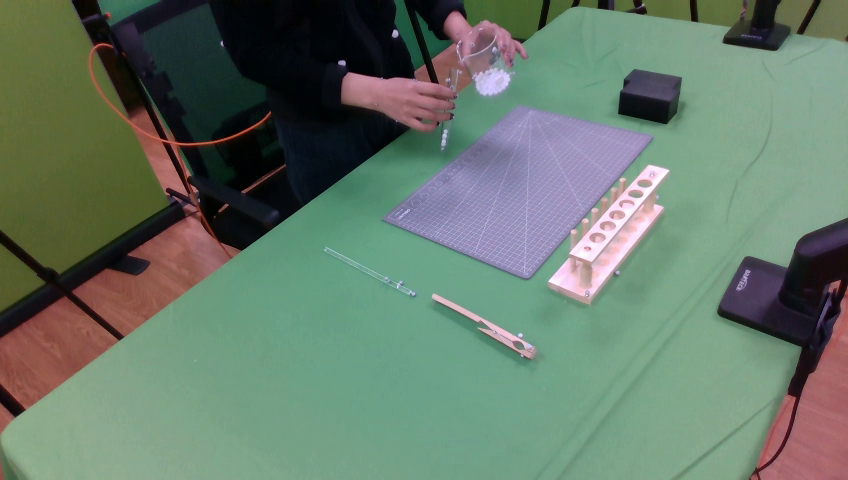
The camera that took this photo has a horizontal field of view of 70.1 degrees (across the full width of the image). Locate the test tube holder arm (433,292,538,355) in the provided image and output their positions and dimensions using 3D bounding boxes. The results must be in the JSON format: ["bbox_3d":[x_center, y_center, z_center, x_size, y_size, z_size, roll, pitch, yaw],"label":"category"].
[{"bbox_3d":[0.081,0.112,0.832,0.177,0.015,0.013,28,82,36],"label":"test tube holder arm"}]

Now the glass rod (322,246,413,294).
[{"bbox_3d":[-0.093,0.045,0.956,0.198,0.008,0.008,24,51,33],"label":"glass rod"}]

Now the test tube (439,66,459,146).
[{"bbox_3d":[0.044,-0.236,1.080,0.017,0.150,0.017,6,36,-4],"label":"test tube"}]

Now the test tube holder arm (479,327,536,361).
[{"bbox_3d":[0.110,0.134,0.805,0.087,0.015,0.010,29,83,36],"label":"test tube holder arm"}]

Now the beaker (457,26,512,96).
[{"bbox_3d":[0.108,-0.312,1.074,0.084,0.101,0.073,-46,45,-11],"label":"beaker"}]

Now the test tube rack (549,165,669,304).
[{"bbox_3d":[0.279,-0.018,0.902,0.066,0.085,0.243,24,50,33],"label":"test tube rack"}]
